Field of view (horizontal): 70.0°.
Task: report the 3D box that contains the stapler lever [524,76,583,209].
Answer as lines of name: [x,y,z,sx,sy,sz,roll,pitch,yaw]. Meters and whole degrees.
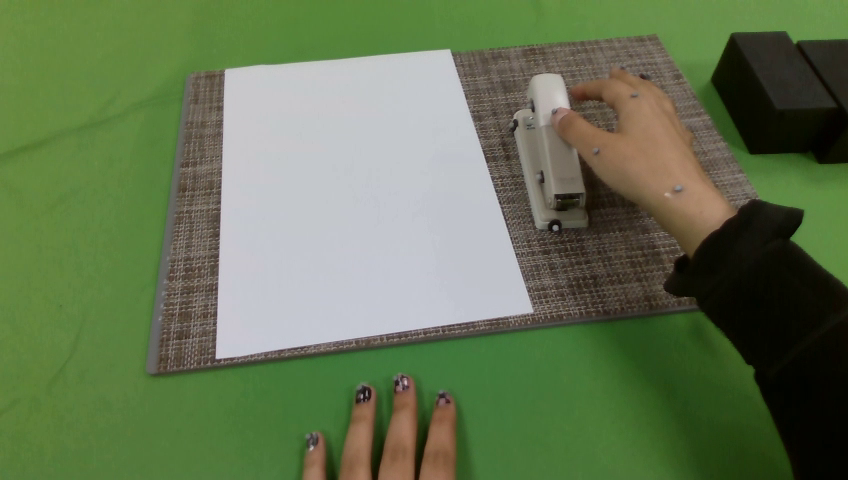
stapler lever: [0.099,-0.078,0.465,0.027,0.040,0.117,-5,54,0]

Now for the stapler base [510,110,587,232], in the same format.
stapler base: [0.099,-0.065,0.486,0.041,0.024,0.129,-5,55,-1]
